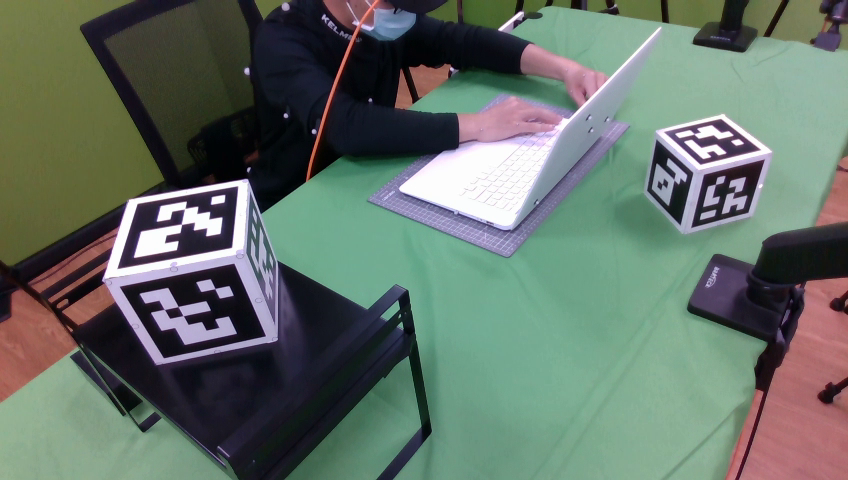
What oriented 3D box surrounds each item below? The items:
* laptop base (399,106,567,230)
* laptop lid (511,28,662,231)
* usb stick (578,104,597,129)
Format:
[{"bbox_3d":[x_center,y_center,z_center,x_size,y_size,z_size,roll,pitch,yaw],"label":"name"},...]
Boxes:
[{"bbox_3d":[0.149,-0.147,1.124,0.233,0.023,0.355,20,47,33],"label":"laptop base"},{"bbox_3d":[0.264,-0.179,0.973,0.013,0.242,0.357,36,53,14],"label":"laptop lid"},{"bbox_3d":[0.320,-0.241,1.189,0.021,0.027,0.059,21,53,26],"label":"usb stick"}]
